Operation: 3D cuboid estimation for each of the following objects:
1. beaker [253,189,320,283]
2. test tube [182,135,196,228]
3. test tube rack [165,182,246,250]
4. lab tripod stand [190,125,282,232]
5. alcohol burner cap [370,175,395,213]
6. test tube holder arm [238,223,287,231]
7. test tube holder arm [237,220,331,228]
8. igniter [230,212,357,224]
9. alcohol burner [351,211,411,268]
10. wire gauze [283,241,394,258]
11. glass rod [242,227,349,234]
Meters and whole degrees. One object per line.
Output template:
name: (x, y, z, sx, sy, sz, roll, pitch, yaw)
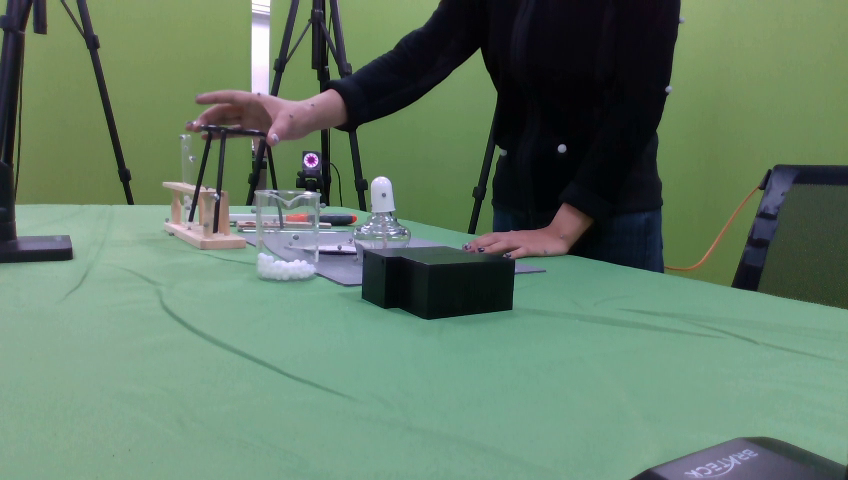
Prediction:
beaker: (-0.156, -0.005, 0.689, 0.074, 0.100, 0.083, 0, 8, -14)
test tube: (-0.382, -0.095, 0.983, 0.017, 0.150, 0.017, -1, 2, 0)
test tube rack: (-0.360, -0.044, 0.982, 0.067, 0.085, 0.241, -3, 9, -34)
lab tripod stand: (-0.251, -0.081, 0.793, 0.148, 0.131, 0.148, 7, 7, 0)
alcohol burner cap: (-0.055, -0.059, 0.778, 0.034, 0.048, 0.034, -6, 9, 1)
test tube holder arm: (-0.297, -0.024, 1.113, 0.088, 0.015, 0.010, -2, 42, -33)
test tube holder arm: (-0.261, -0.029, 1.141, 0.179, 0.015, 0.013, -2, 43, -33)
igniter: (-0.271, -0.044, 1.231, 0.278, 0.025, 0.057, -2, -2, -28)
alcohol burner: (-0.055, -0.023, 0.784, 0.078, 0.119, 0.078, 1, 9, 0)
wire gauze: (-0.127, 0.013, 0.894, 0.126, 0.011, 0.121, 1, 6, -35)
glass rod: (-0.232, -0.017, 1.110, 0.201, 0.008, 0.008, 1, 6, -30)
